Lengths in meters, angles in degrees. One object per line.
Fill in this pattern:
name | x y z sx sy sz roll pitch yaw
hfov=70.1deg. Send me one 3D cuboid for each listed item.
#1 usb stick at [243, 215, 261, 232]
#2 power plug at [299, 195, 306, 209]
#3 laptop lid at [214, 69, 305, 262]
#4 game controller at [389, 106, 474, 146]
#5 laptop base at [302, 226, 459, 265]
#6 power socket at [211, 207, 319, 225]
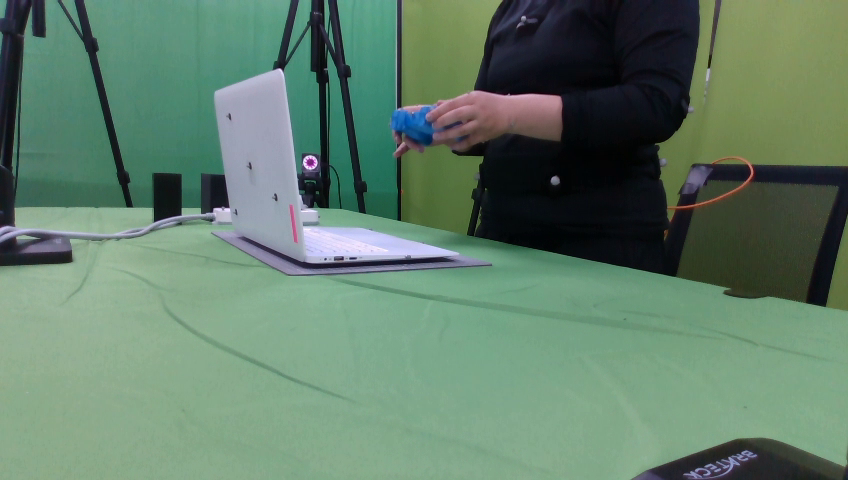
usb stick | -0.302 -0.028 1.070 0.021 0.027 0.059 -1 12 -30
power plug | -0.283 -0.075 1.342 0.035 0.052 0.072 0 4 -18
laptop lid | -0.246 -0.107 0.865 0.013 0.241 0.355 -11 14 -30
game controller | 0.009 -0.196 1.020 0.097 0.051 0.154 14 -2 -33
laptop base | -0.136 0.006 0.951 0.237 0.023 0.352 2 6 -32
power socket | -0.334 -0.051 1.281 0.228 0.032 0.072 -1 9 -29
